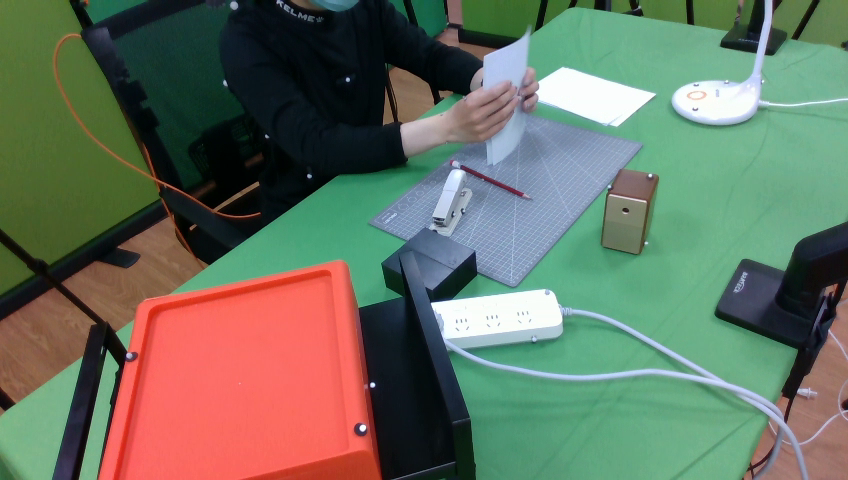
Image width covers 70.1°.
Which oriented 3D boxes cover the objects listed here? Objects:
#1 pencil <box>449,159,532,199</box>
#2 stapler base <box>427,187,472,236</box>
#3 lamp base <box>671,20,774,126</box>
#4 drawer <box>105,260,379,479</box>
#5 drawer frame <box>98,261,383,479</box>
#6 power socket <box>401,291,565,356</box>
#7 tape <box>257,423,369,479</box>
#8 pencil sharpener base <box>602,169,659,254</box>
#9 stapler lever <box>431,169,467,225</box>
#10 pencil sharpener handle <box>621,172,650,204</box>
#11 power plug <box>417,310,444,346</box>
[{"bbox_3d":[0.117,-0.110,1.091,0.192,0.012,0.012,30,53,34],"label":"pencil"},{"bbox_3d":[0.045,-0.057,1.028,0.041,0.024,0.130,9,44,21],"label":"stapler base"},{"bbox_3d":[0.581,-0.332,1.154,0.179,0.181,0.160,2,41,7],"label":"lamp base"},{"bbox_3d":[-0.150,0.127,0.524,0.195,0.073,0.210,-11,41,-5],"label":"drawer"},{"bbox_3d":[-0.149,0.129,0.520,0.202,0.083,0.212,-12,41,-6],"label":"drawer frame"},{"bbox_3d":[0.080,0.112,0.822,0.227,0.033,0.072,-6,41,0],"label":"power socket"},{"bbox_3d":[-0.121,0.262,0.660,0.117,0.053,0.116,-4,40,4],"label":"tape"},{"bbox_3d":[0.311,-0.044,0.913,0.061,0.107,0.077,14,45,24],"label":"pencil sharpener base"},{"bbox_3d":[0.043,-0.074,1.010,0.026,0.040,0.118,9,44,21],"label":"stapler lever"},{"bbox_3d":[0.328,-0.086,0.940,0.036,0.068,0.030,30,49,8],"label":"pencil sharpener handle"},{"bbox_3d":[0.006,0.122,0.785,0.035,0.053,0.072,-1,40,8],"label":"power plug"}]
